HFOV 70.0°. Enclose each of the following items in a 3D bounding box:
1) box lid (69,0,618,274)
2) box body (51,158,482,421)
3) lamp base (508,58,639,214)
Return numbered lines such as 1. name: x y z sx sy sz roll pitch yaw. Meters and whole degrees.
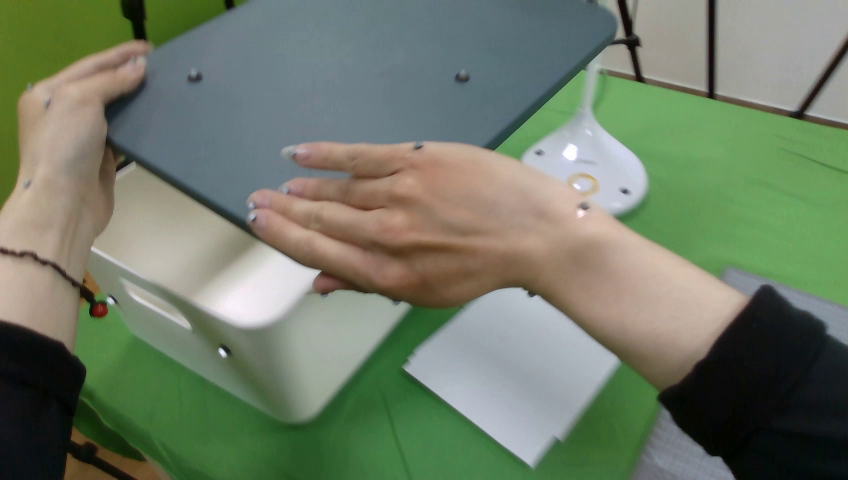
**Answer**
1. box lid: -0.041 -0.141 0.461 0.261 0.015 0.370 30 54 22
2. box body: -0.123 -0.027 0.624 0.252 0.162 0.363 21 49 24
3. lamp base: 0.183 -0.151 0.721 0.160 0.182 0.177 -1 41 3
